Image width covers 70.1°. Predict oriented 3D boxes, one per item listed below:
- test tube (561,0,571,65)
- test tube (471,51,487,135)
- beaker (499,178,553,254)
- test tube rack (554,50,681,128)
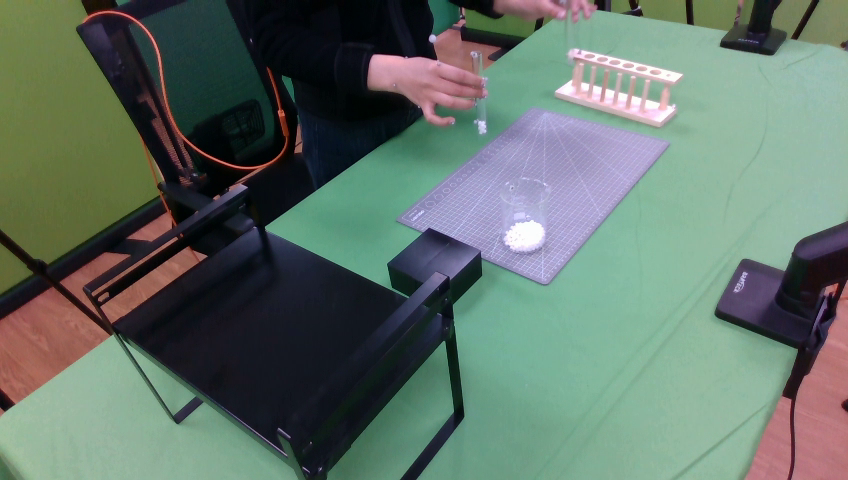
[{"bbox_3d":[0.255,-0.385,1.087,0.017,0.151,0.017,-7,41,7],"label":"test tube"},{"bbox_3d":[0.088,-0.230,0.963,0.017,0.151,0.017,-5,46,6],"label":"test tube"},{"bbox_3d":[0.157,-0.036,0.929,0.084,0.100,0.073,-16,41,-12],"label":"beaker"},{"bbox_3d":[0.387,-0.311,1.234,0.240,0.085,0.067,28,52,34],"label":"test tube rack"}]
